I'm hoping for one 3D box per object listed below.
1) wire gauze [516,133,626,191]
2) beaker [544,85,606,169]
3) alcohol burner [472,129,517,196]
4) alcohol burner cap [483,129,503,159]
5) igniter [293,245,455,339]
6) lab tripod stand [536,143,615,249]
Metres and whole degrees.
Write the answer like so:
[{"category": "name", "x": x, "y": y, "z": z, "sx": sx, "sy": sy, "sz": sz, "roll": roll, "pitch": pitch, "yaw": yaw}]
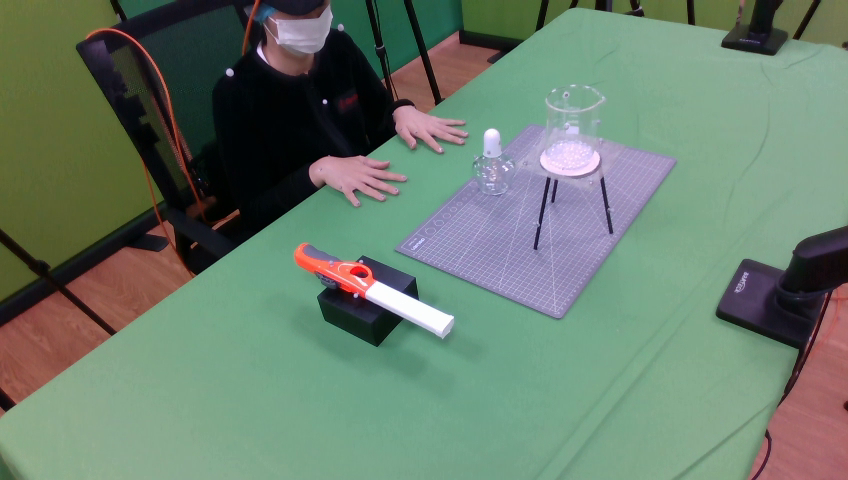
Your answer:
[{"category": "wire gauze", "x": 0.217, "y": -0.122, "z": 0.893, "sx": 0.124, "sy": 0.011, "sz": 0.122, "roll": 20, "pitch": 47, "yaw": 32}, {"category": "beaker", "x": 0.212, "y": -0.158, "z": 0.861, "sx": 0.084, "sy": 0.101, "sz": 0.073, "roll": -3, "pitch": 41, "yaw": 6}, {"category": "alcohol burner", "x": 0.120, "y": -0.136, "z": 1.045, "sx": 0.078, "sy": 0.119, "sz": 0.077, "roll": -6, "pitch": 39, "yaw": 6}, {"category": "alcohol burner cap", "x": 0.115, "y": -0.163, "z": 1.021, "sx": 0.034, "sy": 0.048, "sz": 0.033, "roll": -5, "pitch": 36, "yaw": 4}, {"category": "igniter", "x": -0.079, "y": 0.065, "z": 0.834, "sx": 0.274, "sy": 0.025, "sz": 0.057, "roll": 23, "pitch": 48, "yaw": 27}, {"category": "lab tripod stand", "x": 0.224, "y": -0.069, "z": 0.931, "sx": 0.148, "sy": 0.132, "sz": 0.147, "roll": -4, "pitch": 42, "yaw": 4}]
